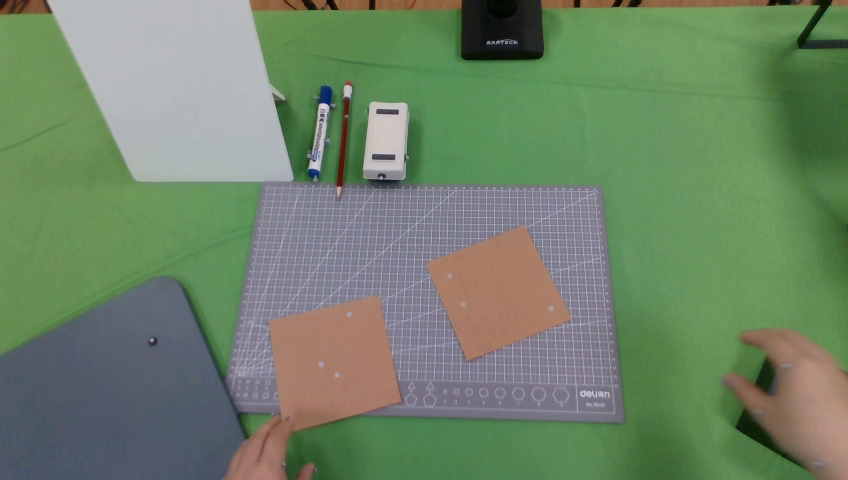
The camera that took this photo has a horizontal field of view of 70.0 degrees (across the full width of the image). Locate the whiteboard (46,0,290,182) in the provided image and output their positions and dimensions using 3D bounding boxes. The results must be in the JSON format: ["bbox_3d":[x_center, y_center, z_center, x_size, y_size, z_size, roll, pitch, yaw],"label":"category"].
[{"bbox_3d":[-0.286,-0.235,0.747,0.217,0.308,0.142,1,46,3],"label":"whiteboard"}]

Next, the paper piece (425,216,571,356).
[{"bbox_3d":[0.086,0.053,0.730,0.136,0.009,0.137,-21,69,-3],"label":"paper piece"}]

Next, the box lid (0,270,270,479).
[{"bbox_3d":[-0.335,0.228,0.668,0.263,0.015,0.368,-28,68,-10],"label":"box lid"}]

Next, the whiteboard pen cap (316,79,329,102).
[{"bbox_3d":[-0.143,-0.209,0.853,0.018,0.018,0.033,0,64,2],"label":"whiteboard pen cap"}]

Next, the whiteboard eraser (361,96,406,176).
[{"bbox_3d":[-0.053,-0.138,0.806,0.055,0.042,0.112,0,66,4],"label":"whiteboard eraser"}]

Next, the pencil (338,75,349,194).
[{"bbox_3d":[-0.111,-0.147,0.828,0.012,0.012,0.192,-2,66,2],"label":"pencil"}]

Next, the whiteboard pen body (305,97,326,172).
[{"bbox_3d":[-0.147,-0.156,0.830,0.017,0.017,0.139,2,66,3],"label":"whiteboard pen body"}]

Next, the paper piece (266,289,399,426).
[{"bbox_3d":[-0.108,0.132,0.701,0.135,0.004,0.134,-13,67,-4],"label":"paper piece"}]
